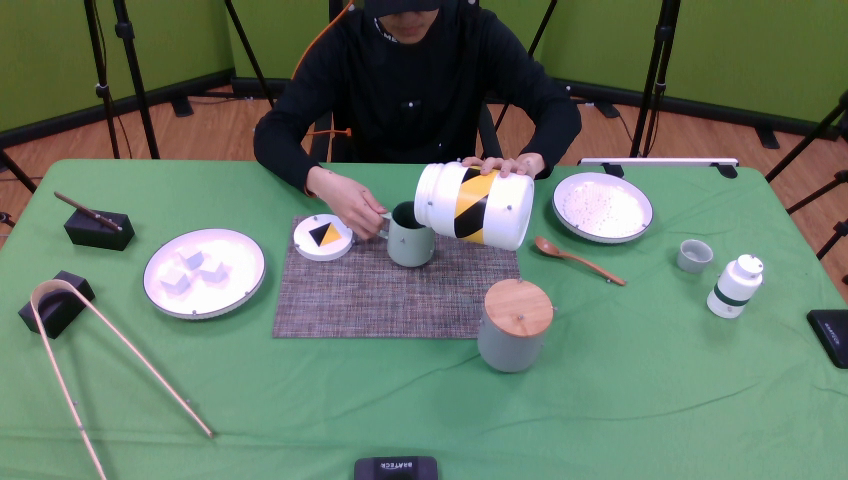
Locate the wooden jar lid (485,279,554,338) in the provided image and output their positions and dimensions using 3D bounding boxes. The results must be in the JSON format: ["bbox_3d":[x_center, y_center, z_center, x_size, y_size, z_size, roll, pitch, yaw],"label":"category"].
[{"bbox_3d":[0.147,0.108,0.940,0.108,0.021,0.107,4,47,-4],"label":"wooden jar lid"}]

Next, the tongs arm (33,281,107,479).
[{"bbox_3d":[-0.517,0.214,0.910,0.051,0.026,0.383,-28,63,-27],"label":"tongs arm"}]

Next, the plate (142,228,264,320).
[{"bbox_3d":[-0.394,0.064,1.095,0.208,0.039,0.206,2,46,-2],"label":"plate"}]

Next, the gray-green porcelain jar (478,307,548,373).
[{"bbox_3d":[0.144,0.148,0.989,0.106,0.127,0.105,2,50,-2],"label":"gray-green porcelain jar"}]

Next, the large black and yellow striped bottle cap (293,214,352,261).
[{"bbox_3d":[-0.198,-0.007,1.187,0.115,0.019,0.114,3,47,-3],"label":"large black and yellow striped bottle cap"}]

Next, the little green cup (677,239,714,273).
[{"bbox_3d":[0.530,0.033,1.189,0.061,0.039,0.061,2,47,-2],"label":"little green cup"}]

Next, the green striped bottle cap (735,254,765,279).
[{"bbox_3d":[0.566,0.046,1.051,0.044,0.020,0.044,0,45,0],"label":"green striped bottle cap"}]

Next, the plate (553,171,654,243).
[{"bbox_3d":[0.373,-0.066,1.274,0.209,0.038,0.208,2,46,-2],"label":"plate"}]

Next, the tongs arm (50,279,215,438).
[{"bbox_3d":[-0.459,0.178,0.949,0.386,0.028,0.028,37,60,17],"label":"tongs arm"}]

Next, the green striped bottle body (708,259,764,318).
[{"bbox_3d":[0.563,0.081,1.089,0.063,0.120,0.063,2,46,-2],"label":"green striped bottle body"}]

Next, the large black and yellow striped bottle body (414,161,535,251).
[{"bbox_3d":[0.087,-0.063,1.039,0.183,0.131,0.130,13,46,17],"label":"large black and yellow striped bottle body"}]

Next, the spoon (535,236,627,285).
[{"bbox_3d":[0.304,0.040,1.178,0.193,0.022,0.041,25,34,20],"label":"spoon"}]

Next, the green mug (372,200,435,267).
[{"bbox_3d":[-0.040,-0.015,1.145,0.125,0.105,0.092,16,48,10],"label":"green mug"}]

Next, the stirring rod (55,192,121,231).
[{"bbox_3d":[-0.632,-0.055,1.138,0.175,0.014,0.006,24,50,19],"label":"stirring rod"}]
